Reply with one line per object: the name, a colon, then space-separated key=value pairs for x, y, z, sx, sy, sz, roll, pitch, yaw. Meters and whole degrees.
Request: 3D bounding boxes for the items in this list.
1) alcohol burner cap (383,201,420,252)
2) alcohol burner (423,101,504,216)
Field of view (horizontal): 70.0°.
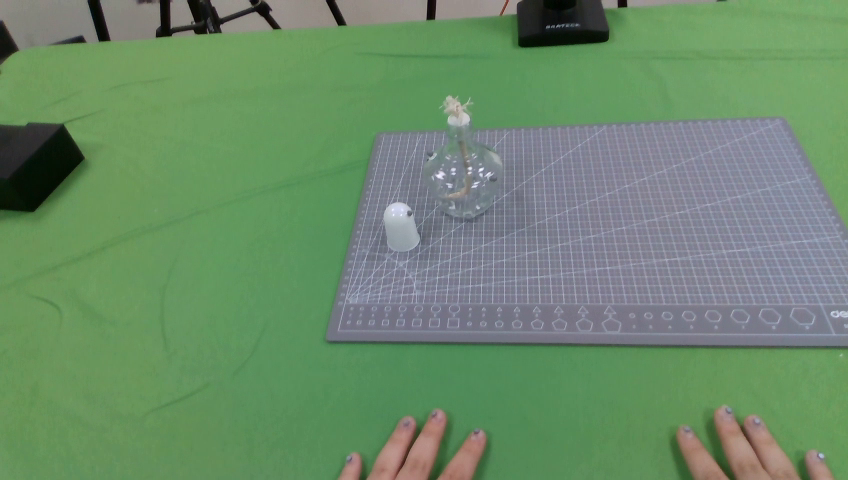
alcohol burner cap: x=-0.022 y=-0.016 z=0.567 sx=0.034 sy=0.048 sz=0.033 roll=-4 pitch=46 yaw=5
alcohol burner: x=0.037 y=-0.081 z=0.571 sx=0.078 sy=0.120 sz=0.077 roll=-3 pitch=46 yaw=4
